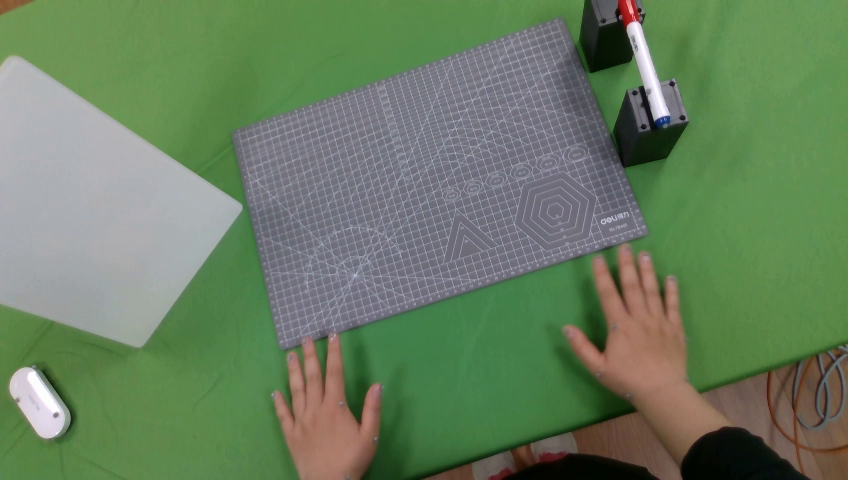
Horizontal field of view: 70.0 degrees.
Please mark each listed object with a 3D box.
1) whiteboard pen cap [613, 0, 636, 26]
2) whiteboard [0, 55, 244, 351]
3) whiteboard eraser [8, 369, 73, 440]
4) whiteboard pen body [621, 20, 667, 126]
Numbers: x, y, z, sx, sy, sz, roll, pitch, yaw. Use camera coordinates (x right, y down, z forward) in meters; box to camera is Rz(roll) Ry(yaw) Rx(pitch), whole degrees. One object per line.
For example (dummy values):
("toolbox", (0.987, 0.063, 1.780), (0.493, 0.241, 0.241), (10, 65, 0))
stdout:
("whiteboard pen cap", (0.211, -0.239, 0.636), (0.017, 0.017, 0.032), (-11, 76, 7))
("whiteboard", (-0.400, -0.040, 0.673), (0.142, 0.308, 0.217), (30, 83, 35))
("whiteboard eraser", (-0.472, 0.201, 0.742), (0.041, 0.019, 0.100), (-45, 75, -4))
("whiteboard pen body", (0.222, -0.181, 0.622), (0.017, 0.017, 0.139), (-13, 74, 6))
